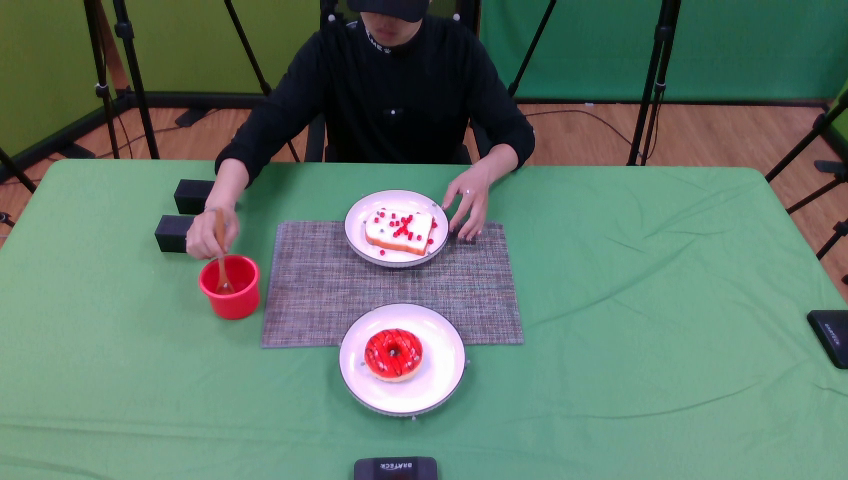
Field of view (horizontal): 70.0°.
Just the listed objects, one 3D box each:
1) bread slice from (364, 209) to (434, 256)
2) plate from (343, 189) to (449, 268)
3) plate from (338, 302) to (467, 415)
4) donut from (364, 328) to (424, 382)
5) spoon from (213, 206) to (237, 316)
[{"bbox_3d":[-0.053,-0.020,1.199,0.131,0.019,0.104,10,46,4],"label":"bread slice"},{"bbox_3d":[-0.055,-0.019,1.195,0.209,0.038,0.208,3,46,-2],"label":"plate"},{"bbox_3d":[-0.035,0.194,0.992,0.208,0.039,0.206,2,48,-2],"label":"plate"},{"bbox_3d":[-0.049,0.185,0.984,0.099,0.048,0.098,1,45,-1],"label":"donut"},{"bbox_3d":[-0.338,0.037,1.020,0.041,0.194,0.021,5,22,2],"label":"spoon"}]
